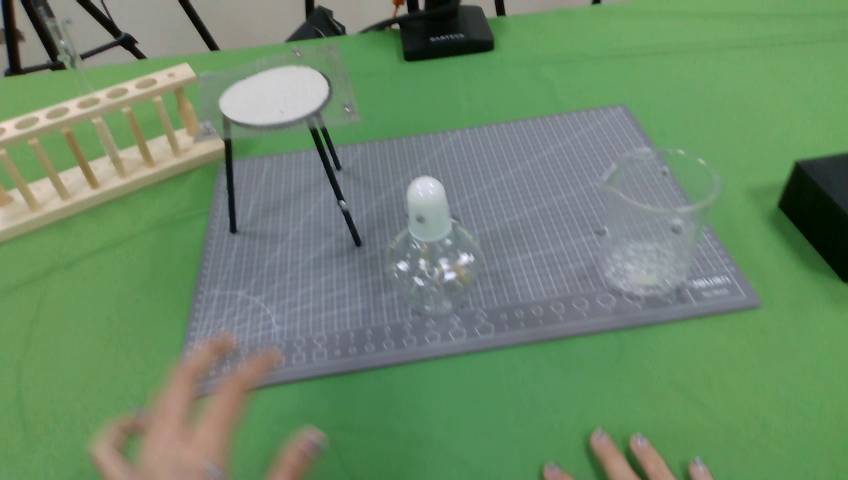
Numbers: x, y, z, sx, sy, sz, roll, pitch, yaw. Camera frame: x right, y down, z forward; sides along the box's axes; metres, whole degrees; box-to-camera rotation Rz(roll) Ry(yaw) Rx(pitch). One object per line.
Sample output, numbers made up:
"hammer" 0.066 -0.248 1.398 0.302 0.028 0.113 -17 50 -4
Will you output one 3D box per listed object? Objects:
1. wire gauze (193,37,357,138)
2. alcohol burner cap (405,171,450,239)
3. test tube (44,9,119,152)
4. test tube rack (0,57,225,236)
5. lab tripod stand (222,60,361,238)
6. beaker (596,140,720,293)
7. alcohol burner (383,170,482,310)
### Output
"wire gauze" -0.123 -0.124 0.487 0.125 0.011 0.120 -13 45 -6
"alcohol burner cap" 0.001 -0.028 0.437 0.034 0.048 0.033 -4 47 5
"test tube" -0.337 -0.152 0.601 0.017 0.151 0.017 -1 41 2
"test tube rack" -0.338 -0.098 0.618 0.242 0.086 0.066 -26 48 -19
"lab tripod stand" -0.117 -0.077 0.535 0.148 0.133 0.147 -3 47 4
"beaker" 0.171 -0.014 0.465 0.084 0.101 0.073 0 45 7
"alcohol burner" 0.005 -0.003 0.462 0.078 0.120 0.077 -3 43 3
